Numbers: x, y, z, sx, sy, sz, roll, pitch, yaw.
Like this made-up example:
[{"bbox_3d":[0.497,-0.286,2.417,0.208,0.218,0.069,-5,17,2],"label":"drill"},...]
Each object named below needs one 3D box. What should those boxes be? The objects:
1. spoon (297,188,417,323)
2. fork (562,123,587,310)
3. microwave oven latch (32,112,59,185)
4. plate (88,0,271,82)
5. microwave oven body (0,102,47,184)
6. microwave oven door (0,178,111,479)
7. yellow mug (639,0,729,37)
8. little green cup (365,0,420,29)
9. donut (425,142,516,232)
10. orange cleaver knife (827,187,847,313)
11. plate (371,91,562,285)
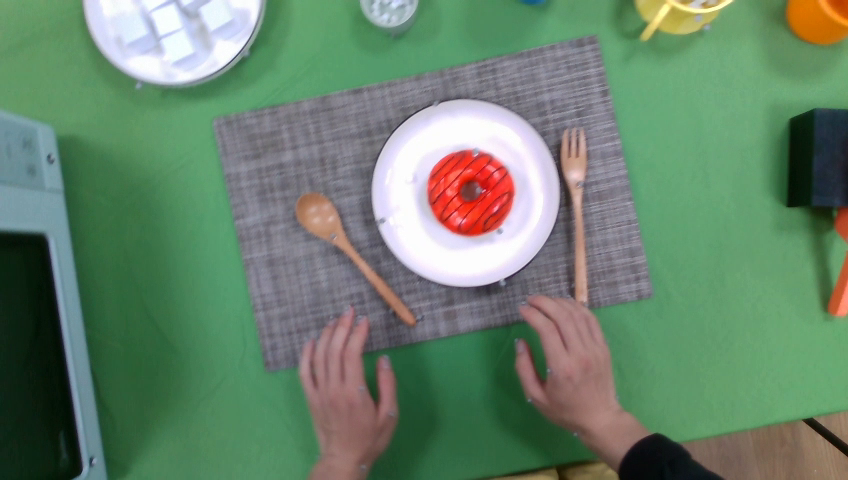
[{"bbox_3d":[-0.074,0.020,0.684,0.041,0.021,0.193,-40,88,-17],"label":"spoon"},{"bbox_3d":[0.171,-0.026,0.672,0.028,0.018,0.207,-2,88,-6],"label":"fork"},{"bbox_3d":[-0.433,-0.102,0.680,0.030,0.029,0.079,-5,91,3],"label":"microwave oven latch"},{"bbox_3d":[-0.273,-0.281,0.689,0.207,0.039,0.207,0,90,3],"label":"plate"},{"bbox_3d":[-0.558,0.094,0.591,0.326,0.260,0.441,-9,90,3],"label":"microwave oven body"},{"bbox_3d":[-0.408,0.115,0.578,0.039,0.244,0.355,-9,89,3],"label":"microwave oven door"},{"bbox_3d":[0.276,-0.272,0.646,0.100,0.064,0.131,37,93,3],"label":"yellow mug"},{"bbox_3d":[-0.033,-0.268,0.677,0.061,0.038,0.061,0,89,4],"label":"little green cup"},{"bbox_3d":[0.050,-0.057,0.658,0.099,0.048,0.099,0,91,5],"label":"donut"},{"bbox_3d":[0.453,-0.024,0.629,0.012,0.076,0.213,4,120,6],"label":"orange cleaver knife"},{"bbox_3d":[0.046,-0.056,0.669,0.209,0.038,0.209,0,90,3],"label":"plate"}]
